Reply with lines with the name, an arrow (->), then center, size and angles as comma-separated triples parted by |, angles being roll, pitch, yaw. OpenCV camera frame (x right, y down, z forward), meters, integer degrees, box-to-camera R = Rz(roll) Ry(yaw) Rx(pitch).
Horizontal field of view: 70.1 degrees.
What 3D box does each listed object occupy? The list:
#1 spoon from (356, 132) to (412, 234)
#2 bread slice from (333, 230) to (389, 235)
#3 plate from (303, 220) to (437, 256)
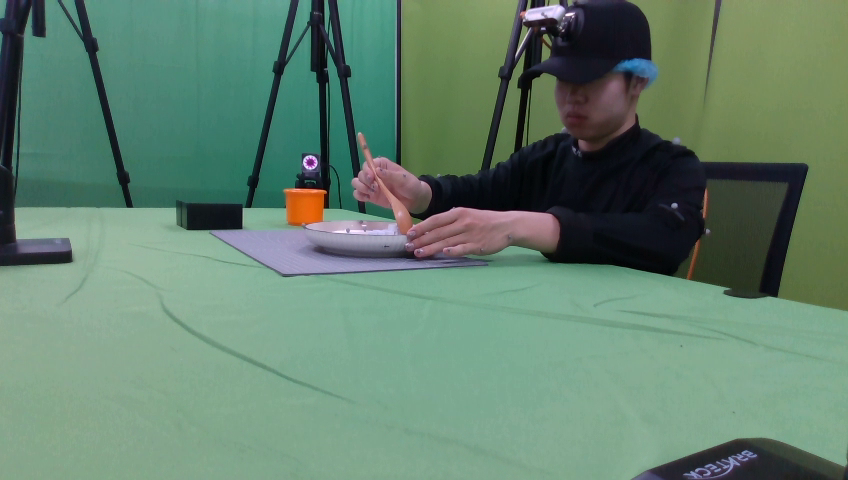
spoon -> -0.067, -0.090, 0.948 | 0.021, 0.193, 0.042 | -40, -21, 26
bread slice -> -0.088, 0.000, 0.947 | 0.105, 0.019, 0.131 | -4, 10, -44
plate -> -0.084, -0.003, 0.951 | 0.209, 0.038, 0.209 | 3, 7, 0
